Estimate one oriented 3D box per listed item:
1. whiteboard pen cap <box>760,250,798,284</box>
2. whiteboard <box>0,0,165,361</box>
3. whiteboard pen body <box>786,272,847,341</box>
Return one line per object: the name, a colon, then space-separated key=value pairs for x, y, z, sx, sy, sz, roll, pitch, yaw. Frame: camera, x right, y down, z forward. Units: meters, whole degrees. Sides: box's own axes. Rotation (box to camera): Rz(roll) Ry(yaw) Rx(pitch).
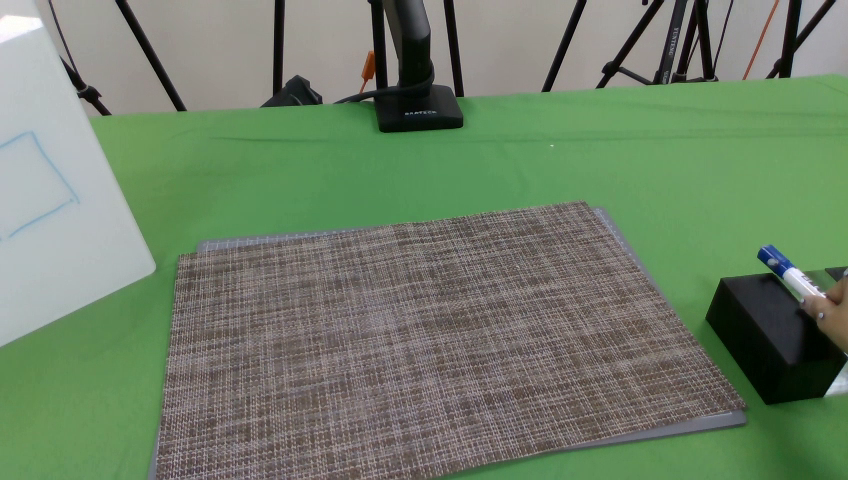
whiteboard pen cap: x=0.317 y=0.025 z=0.537 sx=0.018 sy=0.018 sz=0.033 roll=-11 pitch=38 yaw=-14
whiteboard: x=-0.414 y=-0.060 z=0.533 sx=0.217 sy=0.307 sz=0.142 roll=-31 pitch=28 yaw=-33
whiteboard pen body: x=0.333 y=0.061 z=0.492 sx=0.017 sy=0.017 sz=0.139 roll=-10 pitch=39 yaw=-12
